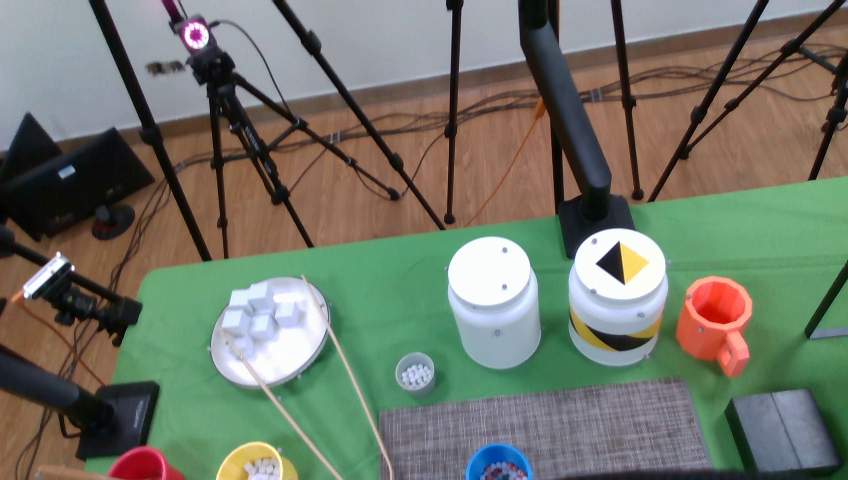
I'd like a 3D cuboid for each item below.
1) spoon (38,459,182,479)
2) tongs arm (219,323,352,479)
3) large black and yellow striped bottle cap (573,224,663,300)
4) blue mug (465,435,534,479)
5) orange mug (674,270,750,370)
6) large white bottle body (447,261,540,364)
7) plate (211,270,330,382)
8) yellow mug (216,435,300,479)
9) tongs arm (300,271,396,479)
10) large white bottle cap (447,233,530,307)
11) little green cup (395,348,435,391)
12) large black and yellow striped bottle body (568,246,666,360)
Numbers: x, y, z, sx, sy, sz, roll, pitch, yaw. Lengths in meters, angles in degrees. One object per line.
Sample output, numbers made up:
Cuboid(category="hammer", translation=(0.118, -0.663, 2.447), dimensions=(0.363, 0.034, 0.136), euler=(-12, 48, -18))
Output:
Cuboid(category="spoon", translation=(-0.448, 0.338, 0.873), dimensions=(0.195, 0.021, 0.041), euler=(24, 54, -24))
Cuboid(category="tongs arm", translation=(-0.194, 0.245, 0.926), dimensions=(0.051, 0.027, 0.381), euler=(-37, 62, -19))
Cuboid(category="large black and yellow striped bottle cap", translation=(0.258, 0.027, 0.807), dimensions=(0.115, 0.019, 0.114), euler=(-5, 54, 8))
Cuboid(category="blue mug", translation=(0.111, 0.320, 0.777), dimensions=(0.082, 0.107, 0.115), euler=(-39, 56, -16))
Cuboid(category="orange mug", translation=(0.417, 0.118, 0.865), dimensions=(0.083, 0.102, 0.125), euler=(-16, 48, 2))
Cuboid(category="large white bottle body", translation=(0.105, 0.089, 0.903), dimensions=(0.130, 0.186, 0.129), euler=(-6, 53, 9))
Cuboid(category="plate", translation=(-0.258, 0.148, 1.037), dimensions=(0.207, 0.039, 0.205), euler=(-6, 54, 9))
Cuboid(category="yellow mug", translation=(-0.247, 0.351, 0.866), dimensions=(0.099, 0.064, 0.130), euler=(27, 65, 28))
Cuboid(category="tongs arm", translation=(-0.125, 0.200, 0.947), dimensions=(0.028, 0.028, 0.383), euler=(-23, 59, -15))
Cuboid(category="large white bottle cap", translation=(0.088, 0.039, 0.836), dimensions=(0.114, 0.018, 0.113), euler=(-7, 53, 9))
Cuboid(category="little green cup", translation=(-0.012, 0.203, 0.939), dimensions=(0.061, 0.039, 0.061), euler=(-6, 54, 8))
Cuboid(category="large black and yellow striped bottle body", translation=(0.274, 0.078, 0.873), dimensions=(0.130, 0.186, 0.129), euler=(-6, 53, 9))
